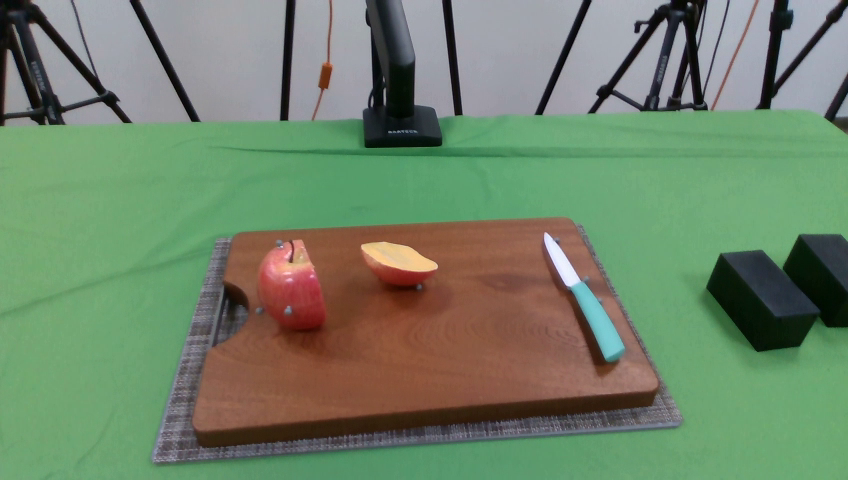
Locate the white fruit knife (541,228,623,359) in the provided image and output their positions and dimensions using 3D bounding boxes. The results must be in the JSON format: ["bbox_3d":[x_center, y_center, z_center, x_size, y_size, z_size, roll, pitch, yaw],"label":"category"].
[{"bbox_3d":[0.157,0.045,0.624,0.027,0.016,0.205,8,34,-17],"label":"white fruit knife"}]

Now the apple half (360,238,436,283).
[{"bbox_3d":[-0.032,0.026,0.619,0.081,0.033,0.081,16,17,-5],"label":"apple half"}]

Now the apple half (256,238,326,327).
[{"bbox_3d":[-0.127,0.044,0.565,0.053,0.075,0.080,-18,46,-17],"label":"apple half"}]
